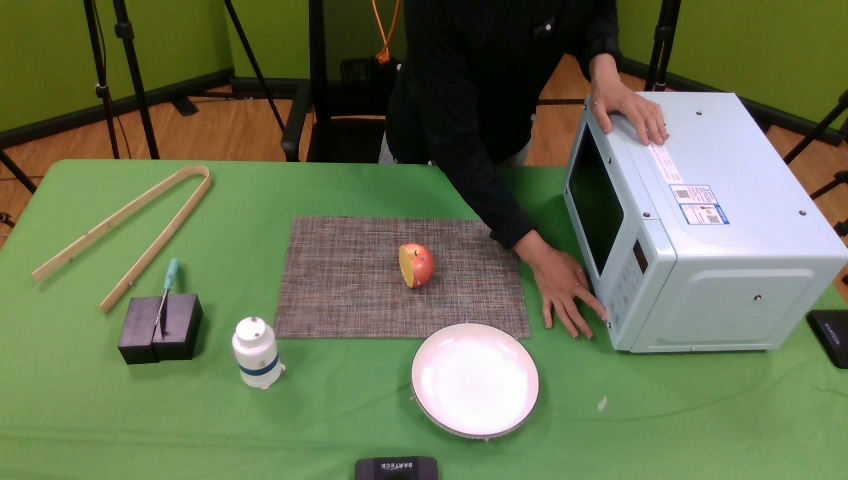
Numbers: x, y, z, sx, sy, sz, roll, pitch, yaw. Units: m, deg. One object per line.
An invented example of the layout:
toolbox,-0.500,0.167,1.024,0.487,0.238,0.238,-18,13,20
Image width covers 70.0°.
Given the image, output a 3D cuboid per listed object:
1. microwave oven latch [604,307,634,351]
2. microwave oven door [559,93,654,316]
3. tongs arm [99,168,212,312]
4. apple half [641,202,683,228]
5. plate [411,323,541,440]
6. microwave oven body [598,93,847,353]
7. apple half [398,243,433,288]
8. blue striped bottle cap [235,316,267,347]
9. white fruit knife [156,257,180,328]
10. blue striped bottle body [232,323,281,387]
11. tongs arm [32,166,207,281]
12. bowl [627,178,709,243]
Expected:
microwave oven latch,0.334,0.153,1.044,0.030,0.029,0.078,1,45,-2
microwave oven door,0.327,-0.074,1.123,0.039,0.245,0.353,0,46,-5
tongs arm,-0.503,-0.013,1.167,0.028,0.028,0.385,10,45,11
apple half,0.458,-0.055,1.160,0.081,0.033,0.081,0,31,0
plate,0.083,0.228,0.976,0.208,0.039,0.206,2,45,-2
microwave oven body,0.476,-0.041,1.110,0.326,0.261,0.438,-1,45,-4
apple half,-0.012,0.047,1.115,0.053,0.075,0.080,-10,44,-21
blue striped bottle cap,-0.259,0.137,0.907,0.044,0.021,0.044,2,44,-2
white fruit knife,-0.439,0.085,1.037,0.016,0.027,0.206,10,26,-19
blue striped bottle body,-0.262,0.172,0.944,0.063,0.121,0.062,2,46,-2
tongs arm,-0.578,-0.040,1.185,0.050,0.026,0.384,23,47,17
bowl,0.456,-0.047,1.167,0.151,0.077,0.150,7,36,-5
